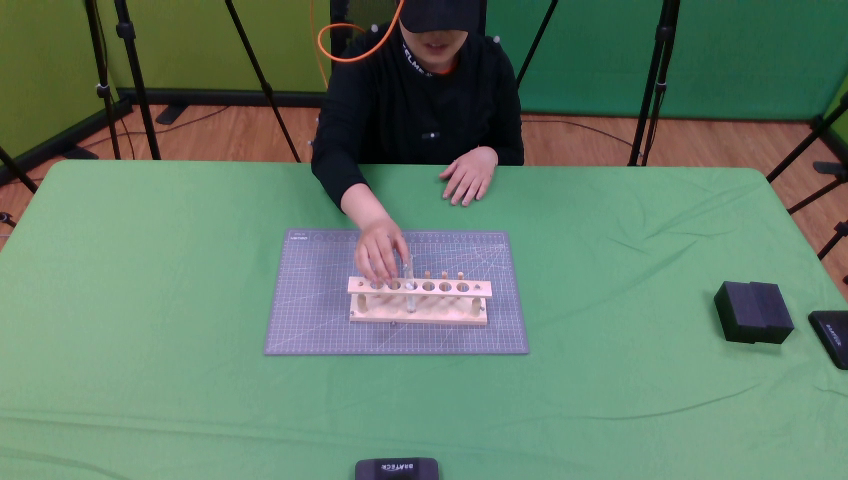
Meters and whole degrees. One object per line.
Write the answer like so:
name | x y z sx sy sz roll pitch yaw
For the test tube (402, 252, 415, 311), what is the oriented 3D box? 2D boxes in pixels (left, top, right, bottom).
test tube | -0.025 0.073 1.010 0.017 0.151 0.017 -1 49 1

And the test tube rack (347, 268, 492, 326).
test tube rack | -0.009 0.095 1.059 0.242 0.085 0.066 2 46 -2
